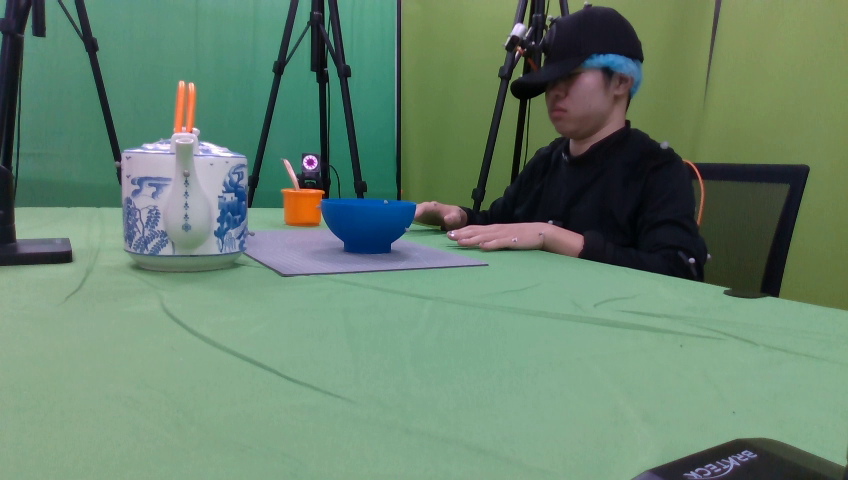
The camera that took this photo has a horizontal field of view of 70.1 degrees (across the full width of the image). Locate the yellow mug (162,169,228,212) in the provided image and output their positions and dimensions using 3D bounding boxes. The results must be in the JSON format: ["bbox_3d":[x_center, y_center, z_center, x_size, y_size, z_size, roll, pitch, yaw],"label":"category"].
[{"bbox_3d":[-0.366,-0.082,0.995,0.100,0.064,0.131,5,7,16],"label":"yellow mug"}]

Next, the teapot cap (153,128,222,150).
[{"bbox_3d":[-0.294,-0.117,0.754,0.085,0.044,0.085,5,9,0],"label":"teapot cap"}]

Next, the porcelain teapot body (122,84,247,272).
[{"bbox_3d":[-0.286,-0.075,0.733,0.146,0.225,0.204,0,8,-24],"label":"porcelain teapot body"}]

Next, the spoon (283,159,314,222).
[{"bbox_3d":[-0.280,-0.111,1.323,0.042,0.193,0.021,1,-38,-35],"label":"spoon"}]

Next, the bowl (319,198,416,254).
[{"bbox_3d":[-0.089,-0.022,0.941,0.151,0.077,0.151,2,7,0],"label":"bowl"}]
